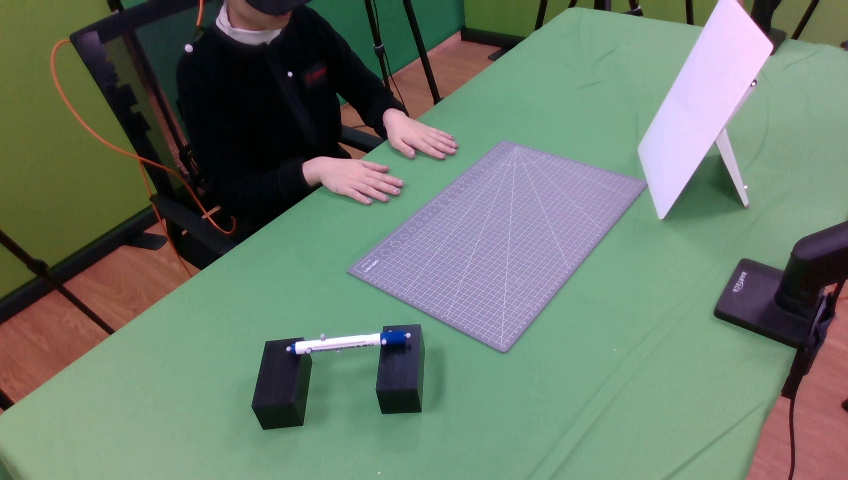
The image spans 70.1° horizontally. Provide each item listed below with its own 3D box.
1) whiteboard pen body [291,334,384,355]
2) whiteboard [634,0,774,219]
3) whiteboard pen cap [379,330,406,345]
[{"bbox_3d":[-0.098,0.131,0.762,0.141,0.017,0.017,-5,41,1],"label":"whiteboard pen body"},{"bbox_3d":[0.485,-0.192,0.957,0.144,0.305,0.216,14,41,-4],"label":"whiteboard"},{"bbox_3d":[-0.040,0.123,0.760,0.033,0.018,0.018,-6,40,2],"label":"whiteboard pen cap"}]
